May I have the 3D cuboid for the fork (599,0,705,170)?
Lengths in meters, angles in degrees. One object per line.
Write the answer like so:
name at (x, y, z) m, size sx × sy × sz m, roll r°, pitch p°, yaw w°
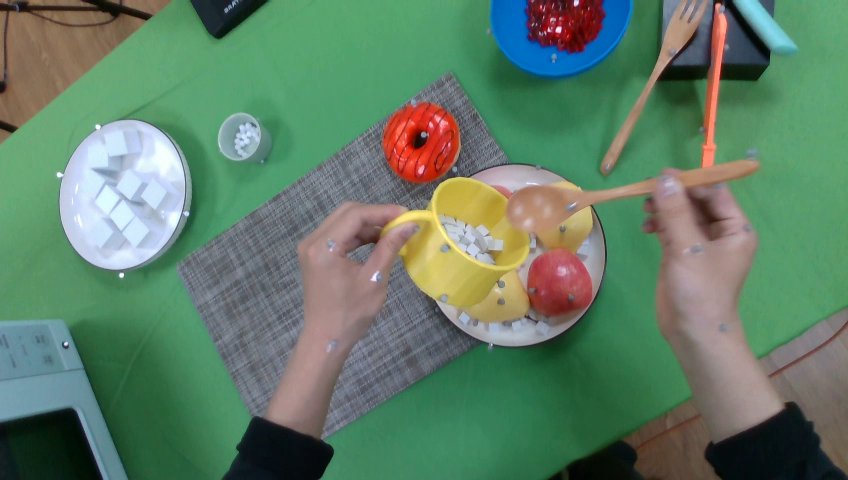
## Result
fork at (0.239, -0.167, 0.647) m, size 0.028 × 0.018 × 0.208 m, roll 26°, pitch 113°, yaw 7°

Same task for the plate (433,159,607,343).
plate at (0.102, 0.012, 0.693) m, size 0.208 × 0.038 × 0.208 m, roll -1°, pitch 86°, yaw 15°

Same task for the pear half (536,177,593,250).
pear half at (0.147, -0.025, 0.670) m, size 0.070 × 0.031 × 0.088 m, roll -2°, pitch 95°, yaw 38°

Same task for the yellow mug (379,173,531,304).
yellow mug at (0.023, -0.003, 0.533) m, size 0.064 × 0.132 × 0.099 m, roll -50°, pitch 42°, yaw 43°

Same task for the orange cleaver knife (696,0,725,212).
orange cleaver knife at (0.299, -0.137, 0.632) m, size 0.012 × 0.077 × 0.212 m, roll 4°, pitch 113°, yaw 20°

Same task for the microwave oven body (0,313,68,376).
microwave oven body at (-0.570, 0.356, 0.733) m, size 0.326 × 0.261 × 0.439 m, roll -30°, pitch 80°, yaw 10°

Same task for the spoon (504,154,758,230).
spoon at (0.152, -0.039, 0.472) m, size 0.193 × 0.022 × 0.041 m, roll -10°, pitch 89°, yaw 36°

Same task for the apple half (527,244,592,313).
apple half at (0.140, 0.044, 0.664) m, size 0.081 × 0.033 × 0.081 m, roll 4°, pitch 97°, yaw 35°

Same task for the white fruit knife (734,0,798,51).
white fruit knife at (0.312, -0.275, 0.621) m, size 0.027 × 0.016 × 0.206 m, roll -25°, pitch 77°, yaw -18°

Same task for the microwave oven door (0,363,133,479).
microwave oven door at (-0.428, 0.320, 0.692) m, size 0.039 × 0.245 × 0.354 m, roll -31°, pitch 79°, yaw 11°

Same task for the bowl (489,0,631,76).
bowl at (0.152, -0.249, 0.681) m, size 0.151 × 0.077 × 0.151 m, roll -1°, pitch 87°, yaw 15°

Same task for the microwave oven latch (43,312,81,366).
microwave oven latch at (-0.502, 0.137, 0.829) m, size 0.030 × 0.029 × 0.079 m, roll -28°, pitch 80°, yaw 11°

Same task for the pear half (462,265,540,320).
pear half at (0.084, 0.059, 0.681) m, size 0.109 × 0.056 × 0.076 m, roll 31°, pitch 99°, yaw 10°

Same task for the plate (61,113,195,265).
plate at (-0.403, -0.068, 0.836) m, size 0.207 × 0.039 × 0.207 m, roll -1°, pitch 86°, yaw 15°

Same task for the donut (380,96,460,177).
donut at (-0.005, -0.123, 0.727) m, size 0.099 × 0.048 × 0.099 m, roll -1°, pitch 88°, yaw 17°

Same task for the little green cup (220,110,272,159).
little green cup at (-0.231, -0.135, 0.795) m, size 0.061 × 0.039 × 0.061 m, roll -1°, pitch 86°, yaw 15°

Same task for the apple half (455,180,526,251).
apple half at (0.072, -0.027, 0.685) m, size 0.074 × 0.053 × 0.080 m, roll -15°, pitch 85°, yaw 14°
